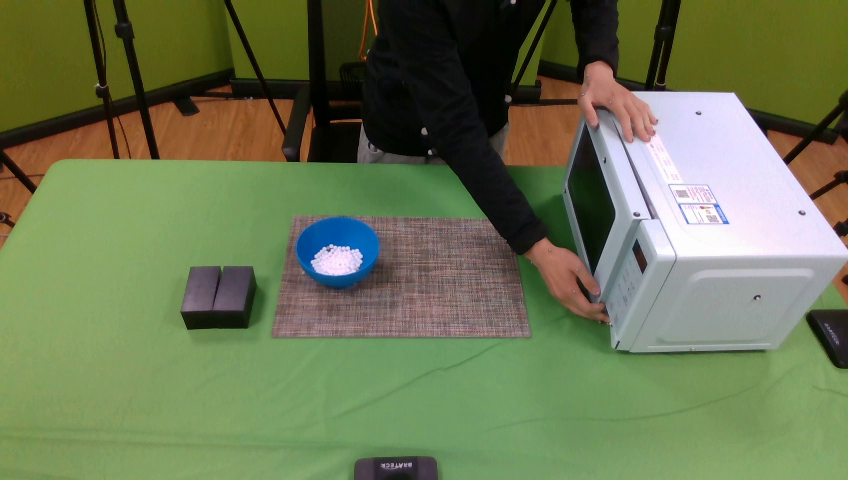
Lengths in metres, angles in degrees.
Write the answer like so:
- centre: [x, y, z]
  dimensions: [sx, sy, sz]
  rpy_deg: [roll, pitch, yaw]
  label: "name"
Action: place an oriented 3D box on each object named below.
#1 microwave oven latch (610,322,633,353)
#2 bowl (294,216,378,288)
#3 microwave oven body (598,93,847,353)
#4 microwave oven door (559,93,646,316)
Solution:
- centre: [0.337, 0.155, 1.042]
  dimensions: [0.030, 0.029, 0.078]
  rpy_deg: [7, 45, 4]
  label: "microwave oven latch"
- centre: [-0.158, 0.036, 1.110]
  dimensions: [0.151, 0.077, 0.150]
  rpy_deg: [2, 45, -2]
  label: "bowl"
- centre: [0.475, -0.041, 1.109]
  dimensions: [0.326, 0.261, 0.438]
  rpy_deg: [-1, 45, -4]
  label: "microwave oven body"
- centre: [0.320, -0.074, 1.123]
  dimensions: [0.039, 0.245, 0.353]
  rpy_deg: [1, 46, -3]
  label: "microwave oven door"
